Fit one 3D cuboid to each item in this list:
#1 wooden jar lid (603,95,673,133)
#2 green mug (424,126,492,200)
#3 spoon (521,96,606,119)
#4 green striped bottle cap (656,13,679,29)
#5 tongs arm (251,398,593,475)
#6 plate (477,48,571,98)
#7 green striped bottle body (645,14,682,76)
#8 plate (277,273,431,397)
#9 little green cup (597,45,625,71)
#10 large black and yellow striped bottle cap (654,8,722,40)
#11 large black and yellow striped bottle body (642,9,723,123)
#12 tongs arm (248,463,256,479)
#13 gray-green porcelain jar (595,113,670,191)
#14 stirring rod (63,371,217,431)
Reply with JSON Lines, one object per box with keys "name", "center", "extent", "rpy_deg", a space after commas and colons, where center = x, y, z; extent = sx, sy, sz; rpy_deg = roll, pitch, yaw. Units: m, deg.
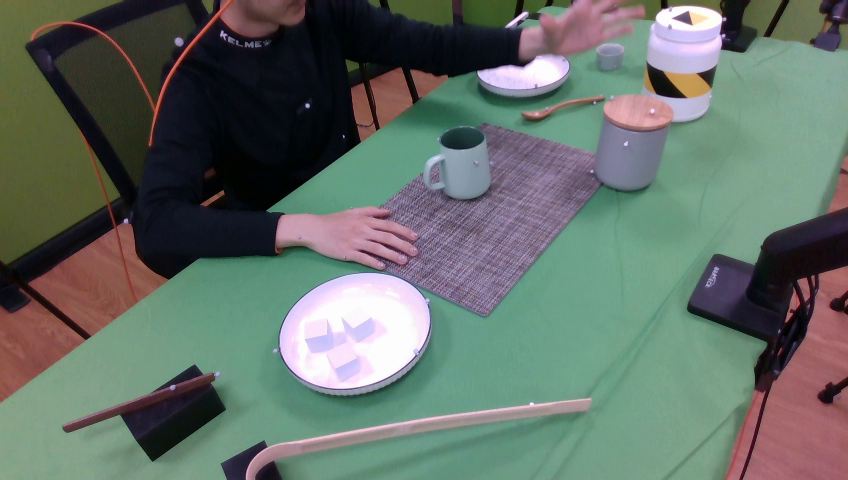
{"name": "wooden jar lid", "center": [0.343, -0.200, 0.974], "extent": [0.108, 0.021, 0.108], "rpy_deg": [-1, 39, 2]}
{"name": "green mug", "center": [0.055, -0.125, 1.039], "extent": [0.126, 0.105, 0.091], "rpy_deg": [-26, 44, -20]}
{"name": "spoon", "center": [0.291, -0.277, 1.249], "extent": [0.194, 0.022, 0.041], "rpy_deg": [-17, 23, -11]}
{"name": "green striped bottle cap", "center": [0.515, -0.463, 1.278], "extent": [0.044, 0.020, 0.044], "rpy_deg": [-6, 42, 6]}
{"name": "tongs arm", "center": [0.008, 0.212, 0.675], "extent": [0.389, 0.028, 0.028], "rpy_deg": [-5, 46, -11]}
{"name": "plate", "center": [0.223, -0.371, 1.357], "extent": [0.209, 0.038, 0.208], "rpy_deg": [-4, 41, 4]}
{"name": "green striped bottle body", "center": [0.520, -0.424, 1.312], "extent": [0.063, 0.120, 0.063], "rpy_deg": [-4, 41, 4]}
{"name": "plate", "center": [-0.091, 0.129, 0.821], "extent": [0.207, 0.039, 0.206], "rpy_deg": [-4, 40, 4]}
{"name": "little green cup", "center": [0.423, -0.412, 1.375], "extent": [0.061, 0.039, 0.061], "rpy_deg": [-4, 42, 4]}
{"name": "large black and yellow striped bottle cap", "center": [0.483, -0.397, 1.108], "extent": [0.115, 0.019, 0.114], "rpy_deg": [-3, 41, 3]}
{"name": "large black and yellow striped bottle body", "center": [0.493, -0.334, 1.161], "extent": [0.131, 0.185, 0.130], "rpy_deg": [-4, 41, 4]}
{"name": "tongs arm", "center": [0.012, 0.262, 0.615], "extent": [0.385, 0.026, 0.050], "rpy_deg": [2, 41, -2]}
{"name": "gray-green porcelain jar", "center": [0.346, -0.155, 1.017], "extent": [0.106, 0.127, 0.105], "rpy_deg": [-2, 44, 2]}
{"name": "stirring rod", "center": [-0.337, 0.192, 0.723], "extent": [0.177, 0.014, 0.005], "rpy_deg": [-18, 43, -12]}
